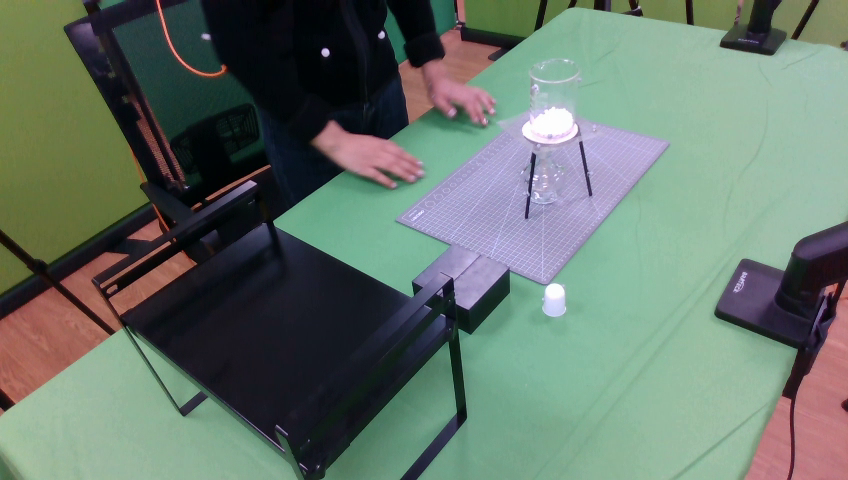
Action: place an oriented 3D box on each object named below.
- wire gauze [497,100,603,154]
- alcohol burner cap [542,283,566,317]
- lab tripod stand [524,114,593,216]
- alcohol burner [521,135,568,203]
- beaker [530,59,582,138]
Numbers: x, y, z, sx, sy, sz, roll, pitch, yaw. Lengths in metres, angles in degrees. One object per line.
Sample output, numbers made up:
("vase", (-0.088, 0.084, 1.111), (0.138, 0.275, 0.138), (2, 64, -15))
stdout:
("wire gauze", (0.199, -0.179, 0.962), (0.125, 0.011, 0.120), (-21, 42, -12))
("alcohol burner cap", (0.181, 0.081, 0.839), (0.034, 0.048, 0.033), (-4, 40, 4))
("lab tripod stand", (0.210, -0.127, 1.001), (0.148, 0.132, 0.147), (-4, 43, 4))
("alcohol burner", (0.201, -0.122, 1.012), (0.078, 0.119, 0.077), (-6, 41, 6))
("beaker", (0.198, -0.217, 0.932), (0.074, 0.101, 0.083), (-22, 43, -16))
